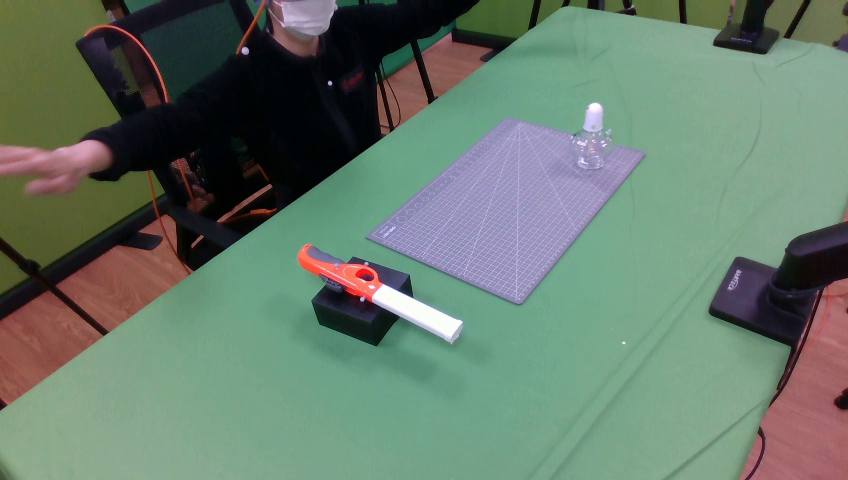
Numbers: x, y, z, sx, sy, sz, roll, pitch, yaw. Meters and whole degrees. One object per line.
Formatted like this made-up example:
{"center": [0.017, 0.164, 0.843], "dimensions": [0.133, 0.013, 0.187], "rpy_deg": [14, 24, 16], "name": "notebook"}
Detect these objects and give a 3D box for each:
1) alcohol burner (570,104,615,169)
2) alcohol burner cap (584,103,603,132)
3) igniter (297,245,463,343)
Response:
{"center": [0.299, -0.187, 1.071], "dimensions": [0.078, 0.119, 0.077], "rpy_deg": [-6, 41, 6], "name": "alcohol burner"}
{"center": [0.295, -0.213, 1.047], "dimensions": [0.034, 0.048, 0.033], "rpy_deg": [-4, 38, 4], "name": "alcohol burner cap"}
{"center": [-0.070, 0.068, 0.827], "dimensions": [0.274, 0.025, 0.057], "rpy_deg": [23, 49, 25], "name": "igniter"}
